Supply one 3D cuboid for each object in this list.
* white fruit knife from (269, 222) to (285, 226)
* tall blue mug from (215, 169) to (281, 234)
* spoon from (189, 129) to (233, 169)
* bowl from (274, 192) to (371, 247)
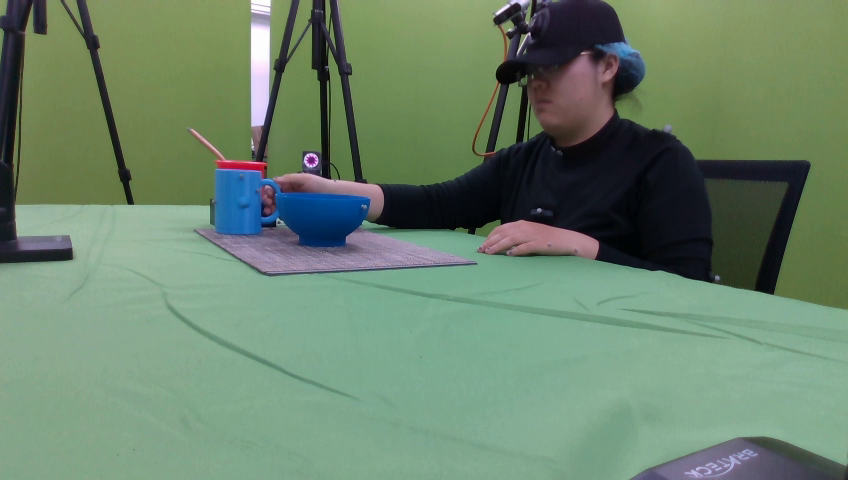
[{"bbox_3d":[-0.222,-0.037,1.261,0.208,0.016,0.027,-4,-18,-32],"label":"white fruit knife"},{"bbox_3d":[-0.313,-0.069,1.061,0.077,0.108,0.108,6,9,31],"label":"tall blue mug"},{"bbox_3d":[-0.388,-0.150,1.174,0.193,0.021,0.042,48,20,6],"label":"spoon"},{"bbox_3d":[-0.161,-0.033,0.958,0.151,0.077,0.151,3,8,0],"label":"bowl"}]
